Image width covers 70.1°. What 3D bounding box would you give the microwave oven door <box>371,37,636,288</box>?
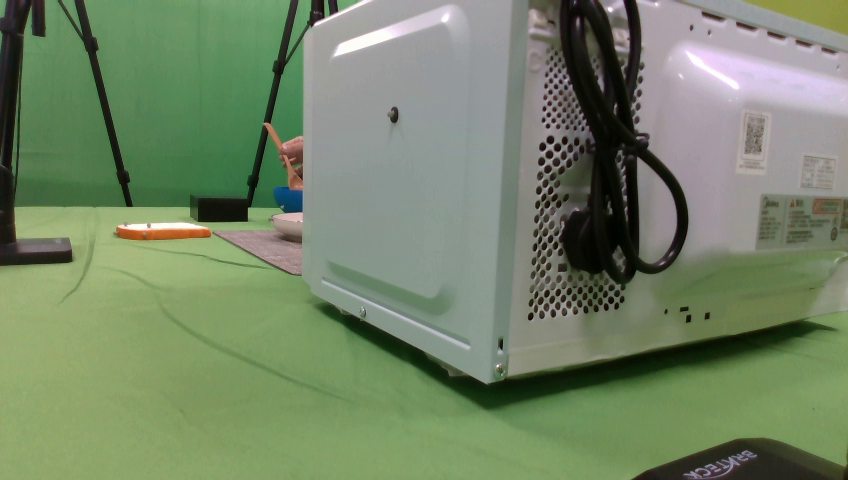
[{"bbox_3d":[0.109,-0.080,0.686,0.358,0.243,0.039,-2,9,-33],"label":"microwave oven door"}]

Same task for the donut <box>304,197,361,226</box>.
[{"bbox_3d":[-0.159,-0.050,1.055,0.099,0.048,0.099,3,8,0],"label":"donut"}]

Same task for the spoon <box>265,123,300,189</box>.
[{"bbox_3d":[-0.308,-0.180,1.340,0.042,0.193,0.021,-19,-10,-38],"label":"spoon"}]

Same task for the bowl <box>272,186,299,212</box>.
[{"bbox_3d":[-0.254,-0.075,1.318,0.151,0.077,0.151,2,7,0],"label":"bowl"}]

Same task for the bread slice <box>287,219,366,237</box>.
[{"bbox_3d":[-0.170,-0.022,1.056,0.134,0.018,0.107,2,7,-6],"label":"bread slice"}]

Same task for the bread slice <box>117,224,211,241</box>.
[{"bbox_3d":[-0.443,-0.015,1.022,0.132,0.019,0.104,-3,8,-45],"label":"bread slice"}]

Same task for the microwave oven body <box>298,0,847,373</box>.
[{"bbox_3d":[0.151,-0.055,0.542,0.444,0.260,0.324,-2,7,-33],"label":"microwave oven body"}]

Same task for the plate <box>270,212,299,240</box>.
[{"bbox_3d":[-0.162,-0.022,1.057,0.208,0.039,0.207,2,7,0],"label":"plate"}]

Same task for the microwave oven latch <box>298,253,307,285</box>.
[{"bbox_3d":[-0.081,0.027,0.582,0.079,0.029,0.030,-1,7,-32],"label":"microwave oven latch"}]
